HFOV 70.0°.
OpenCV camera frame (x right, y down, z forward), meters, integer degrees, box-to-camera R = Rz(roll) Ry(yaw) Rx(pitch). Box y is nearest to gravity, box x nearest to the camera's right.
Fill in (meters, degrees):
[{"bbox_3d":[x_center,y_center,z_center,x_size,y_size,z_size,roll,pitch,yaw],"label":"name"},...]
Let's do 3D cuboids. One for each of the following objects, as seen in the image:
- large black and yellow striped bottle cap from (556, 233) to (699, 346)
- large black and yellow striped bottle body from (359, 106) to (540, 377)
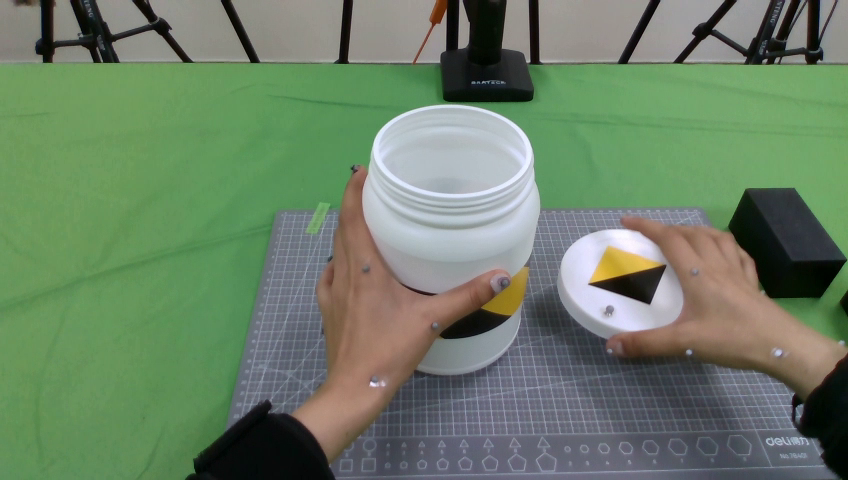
[{"bbox_3d":[0.170,0.038,0.510,0.115,0.019,0.114,-1,44,1],"label":"large black and yellow striped bottle cap"},{"bbox_3d":[0.018,0.004,0.468,0.131,0.185,0.129,1,44,0],"label":"large black and yellow striped bottle body"}]
